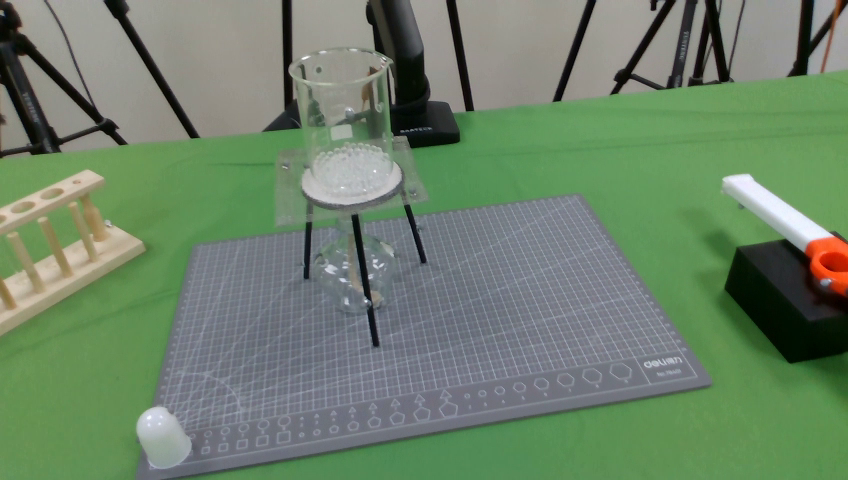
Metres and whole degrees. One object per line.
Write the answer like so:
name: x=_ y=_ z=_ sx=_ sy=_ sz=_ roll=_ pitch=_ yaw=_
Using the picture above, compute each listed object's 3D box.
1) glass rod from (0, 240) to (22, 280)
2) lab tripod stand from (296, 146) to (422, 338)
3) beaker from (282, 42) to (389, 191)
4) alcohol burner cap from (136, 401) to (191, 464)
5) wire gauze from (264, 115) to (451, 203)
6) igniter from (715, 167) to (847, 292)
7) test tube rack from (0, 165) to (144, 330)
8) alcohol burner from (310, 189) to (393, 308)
glass rod: x=-0.426 y=-0.044 z=0.567 sx=0.008 sy=0.201 sz=0.008 roll=-6 pitch=31 yaw=4
lab tripod stand: x=-0.059 y=-0.005 z=0.554 sx=0.148 sy=0.132 sz=0.147 roll=-1 pitch=38 yaw=1
beaker: x=-0.063 y=-0.098 z=0.486 sx=0.084 sy=0.101 sz=0.073 roll=-22 pitch=42 yaw=-23
alcohol burner cap: x=-0.195 y=0.140 z=0.449 sx=0.034 sy=0.048 sz=0.033 roll=0 pitch=38 yaw=0
wire gauze: x=-0.059 y=-0.068 z=0.501 sx=0.125 sy=0.011 sz=0.120 roll=-18 pitch=37 yaw=-25
igniter: x=0.345 y=0.005 z=0.524 sx=0.057 sy=0.025 sz=0.273 roll=-9 pitch=34 yaw=-7
test tube rack: x=-0.409 y=0.024 z=0.586 sx=0.066 sy=0.086 sz=0.242 roll=22 pitch=44 yaw=30
alcohol burner: x=-0.068 y=0.004 z=0.558 sx=0.078 sy=0.120 sz=0.077 roll=-1 pitch=37 yaw=1
